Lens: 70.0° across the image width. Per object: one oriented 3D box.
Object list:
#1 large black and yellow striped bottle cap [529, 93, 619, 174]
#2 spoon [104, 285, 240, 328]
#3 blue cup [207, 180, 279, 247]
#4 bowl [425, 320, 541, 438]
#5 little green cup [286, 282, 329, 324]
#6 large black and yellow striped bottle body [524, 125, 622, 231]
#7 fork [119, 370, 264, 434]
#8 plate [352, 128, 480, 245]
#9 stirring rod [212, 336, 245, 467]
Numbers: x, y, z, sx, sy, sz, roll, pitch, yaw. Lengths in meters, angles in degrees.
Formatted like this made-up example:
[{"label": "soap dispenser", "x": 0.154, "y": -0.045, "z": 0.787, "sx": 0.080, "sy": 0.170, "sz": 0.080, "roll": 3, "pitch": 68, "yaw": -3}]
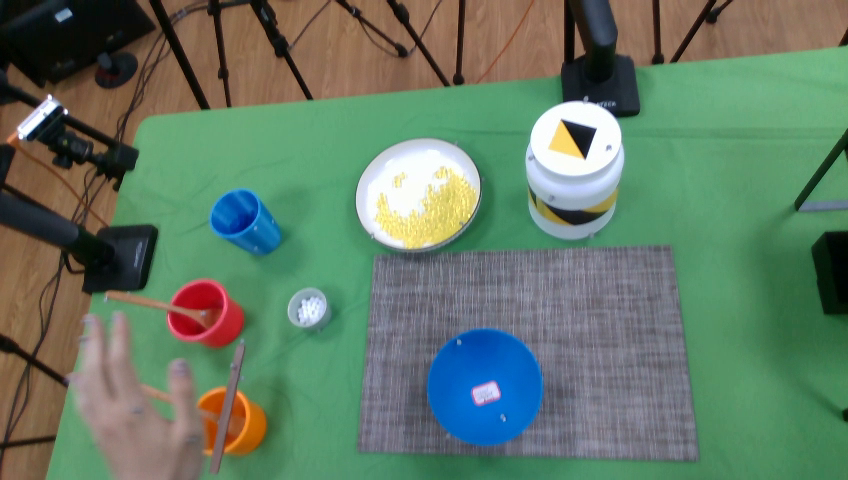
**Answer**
[{"label": "large black and yellow striped bottle cap", "x": 0.194, "y": -0.139, "z": 0.784, "sx": 0.115, "sy": 0.019, "sz": 0.114, "roll": -5, "pitch": 66, "yaw": 11}, {"label": "spoon", "x": -0.376, "y": 0.094, "z": 0.914, "sx": 0.195, "sy": 0.021, "sz": 0.041, "roll": 20, "pitch": 67, "yaw": -27}, {"label": "blue cup", "x": -0.282, "y": -0.034, "z": 0.974, "sx": 0.092, "sy": 0.101, "sz": 0.092, "roll": -5, "pitch": 66, "yaw": 11}, {"label": "bowl", "x": 0.082, "y": 0.191, "z": 0.811, "sx": 0.151, "sy": 0.077, "sz": 0.150, "roll": -4, "pitch": 66, "yaw": 10}, {"label": "little green cup", "x": -0.176, "y": 0.099, "z": 0.929, "sx": 0.061, "sy": 0.039, "sz": 0.061, "roll": -5, "pitch": 66, "yaw": 11}, {"label": "large black and yellow striped bottle body", "x": 0.209, "y": -0.107, "z": 0.861, "sx": 0.130, "sy": 0.185, "sz": 0.130, "roll": -4, "pitch": 66, "yaw": 10}, {"label": "fork", "x": -0.320, "y": 0.225, "z": 0.841, "sx": 0.209, "sy": 0.018, "sz": 0.028, "roll": 31, "pitch": 73, "yaw": -24}, {"label": "plate", "x": -0.013, "y": -0.084, "z": 0.977, "sx": 0.209, "sy": 0.038, "sz": 0.207, "roll": -4, "pitch": 66, "yaw": 10}, {"label": "stirring rod", "x": -0.267, "y": 0.219, "z": 0.831, "sx": 0.014, "sy": 0.006, "sz": 0.175, "roll": -2, "pitch": 67, "yaw": 13}]
